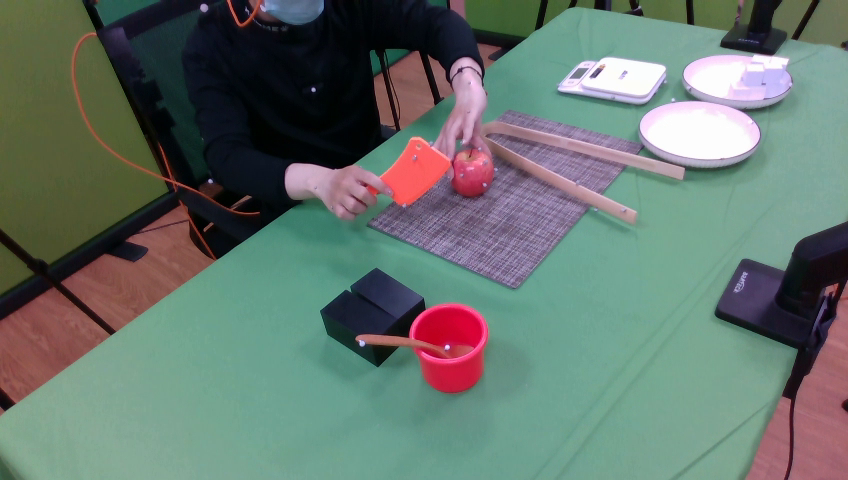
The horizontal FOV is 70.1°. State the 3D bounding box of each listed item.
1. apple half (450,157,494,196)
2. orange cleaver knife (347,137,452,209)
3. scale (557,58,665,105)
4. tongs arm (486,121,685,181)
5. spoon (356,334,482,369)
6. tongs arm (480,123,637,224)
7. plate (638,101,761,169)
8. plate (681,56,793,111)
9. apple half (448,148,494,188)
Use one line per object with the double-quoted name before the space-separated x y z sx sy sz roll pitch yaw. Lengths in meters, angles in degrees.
"apple half" 0.085 -0.103 1.037 0.081 0.081 0.032 -7 37 0
"orange cleaver knife" -0.042 -0.086 0.929 0.210 0.077 0.012 -32 18 41
"scale" 0.407 -0.348 1.314 0.199 0.032 0.149 19 47 28
"tongs arm" 0.287 -0.170 1.124 0.384 0.028 0.028 21 52 29
"spoon" -0.001 0.130 0.731 0.195 0.021 0.041 21 28 -39
"tongs arm" 0.227 -0.128 1.081 0.051 0.026 0.381 -33 46 -26
"plate" 0.500 -0.190 1.111 0.209 0.038 0.208 -4 41 4
"plate" 0.636 -0.317 1.239 0.207 0.039 0.206 -4 40 4
"apple half" 0.082 -0.127 1.068 0.081 0.075 0.053 -9 38 4
